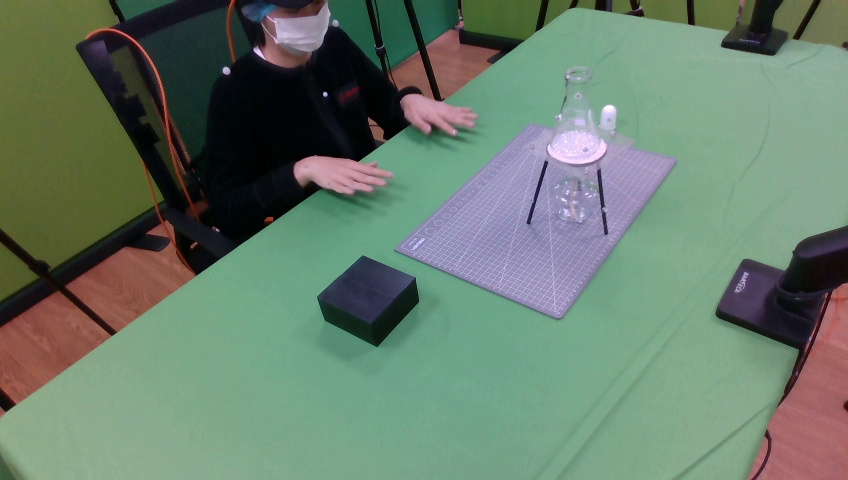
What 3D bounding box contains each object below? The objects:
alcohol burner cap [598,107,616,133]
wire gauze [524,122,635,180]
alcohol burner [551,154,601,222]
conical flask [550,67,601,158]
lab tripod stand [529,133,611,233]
[{"bbox_3d":[0.361,-0.239,1.189,0.034,0.048,0.033,-4,40,4],"label":"alcohol burner cap"},{"bbox_3d":[0.233,-0.142,0.913,0.122,0.011,0.124,-31,43,-26],"label":"wire gauze"},{"bbox_3d":[0.244,-0.088,0.966,0.078,0.119,0.077,-3,40,3],"label":"alcohol burner"},{"bbox_3d":[0.221,-0.186,0.875,0.075,0.122,0.075,-5,40,5],"label":"conical flask"},{"bbox_3d":[0.236,-0.089,0.953,0.148,0.132,0.147,-5,42,5],"label":"lab tripod stand"}]
